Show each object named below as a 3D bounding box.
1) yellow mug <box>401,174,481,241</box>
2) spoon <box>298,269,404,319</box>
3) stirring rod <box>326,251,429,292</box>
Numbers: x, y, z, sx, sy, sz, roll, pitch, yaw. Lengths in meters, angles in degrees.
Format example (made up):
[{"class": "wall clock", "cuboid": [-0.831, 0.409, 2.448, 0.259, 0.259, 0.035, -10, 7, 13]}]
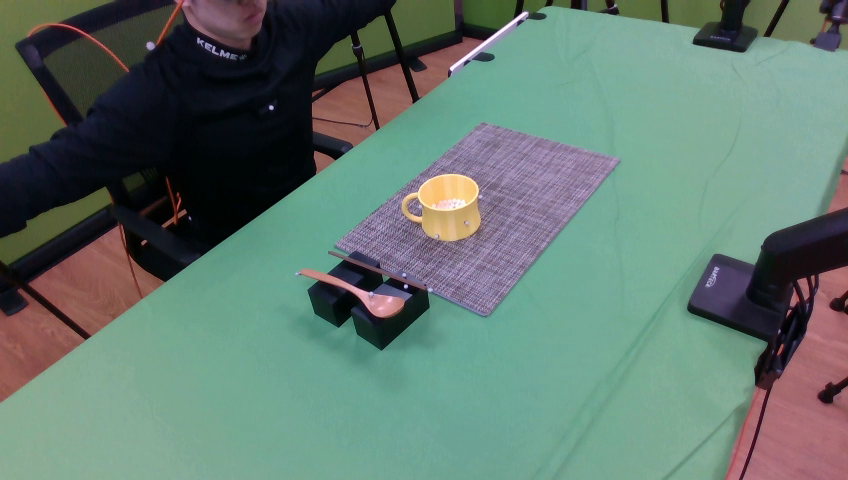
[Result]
[{"class": "yellow mug", "cuboid": [0.026, -0.054, 0.988, 0.130, 0.064, 0.099, -1, 40, 8]}, {"class": "spoon", "cuboid": [-0.106, 0.068, 0.831, 0.192, 0.022, 0.042, 21, 50, 31]}, {"class": "stirring rod", "cuboid": [-0.068, 0.043, 0.858, 0.175, 0.006, 0.014, 18, 9, 27]}]
